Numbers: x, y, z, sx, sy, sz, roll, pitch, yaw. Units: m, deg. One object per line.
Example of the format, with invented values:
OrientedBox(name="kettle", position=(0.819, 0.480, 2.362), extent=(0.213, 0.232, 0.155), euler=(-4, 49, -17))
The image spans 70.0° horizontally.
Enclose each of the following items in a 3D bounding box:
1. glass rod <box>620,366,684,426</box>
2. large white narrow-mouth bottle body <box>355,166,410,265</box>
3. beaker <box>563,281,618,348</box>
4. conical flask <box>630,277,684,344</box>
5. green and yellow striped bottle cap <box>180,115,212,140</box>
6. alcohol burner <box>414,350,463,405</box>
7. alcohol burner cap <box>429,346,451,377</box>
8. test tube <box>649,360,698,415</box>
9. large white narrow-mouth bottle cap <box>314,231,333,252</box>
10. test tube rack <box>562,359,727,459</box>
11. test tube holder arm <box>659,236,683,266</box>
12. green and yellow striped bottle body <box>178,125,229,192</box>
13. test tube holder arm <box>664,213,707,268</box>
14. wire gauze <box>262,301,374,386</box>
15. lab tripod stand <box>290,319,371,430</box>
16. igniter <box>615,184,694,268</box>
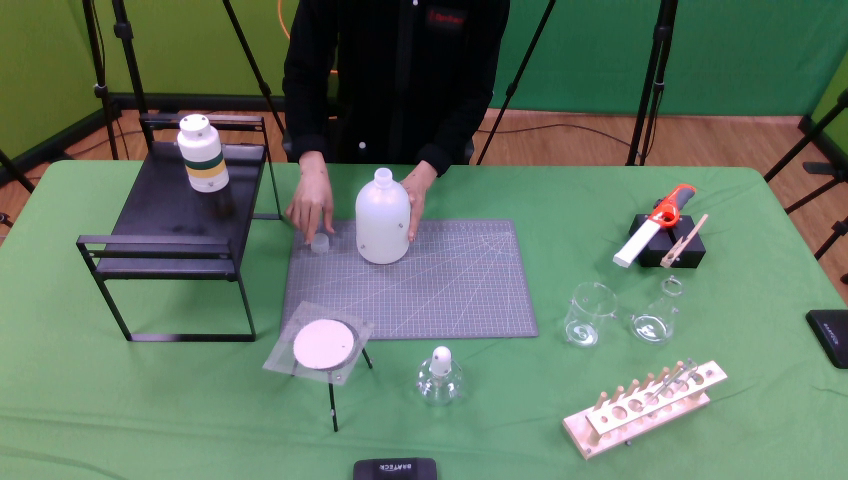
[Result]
OrientedBox(name="glass rod", position=(0.322, 0.227, 0.866), extent=(0.008, 0.200, 0.008), euler=(5, 51, -7))
OrientedBox(name="large white narrow-mouth bottle body", position=(-0.076, -0.051, 1.119), extent=(0.102, 0.195, 0.101), euler=(3, 44, -2))
OrientedBox(name="beaker", position=(0.283, 0.129, 1.041), extent=(0.074, 0.101, 0.083), euler=(11, 46, 7))
OrientedBox(name="conical flask", position=(0.409, 0.117, 1.045), extent=(0.075, 0.122, 0.075), euler=(2, 46, -2))
OrientedBox(name="green and yellow striped bottle cap", position=(-0.358, -0.177, 0.951), extent=(0.045, 0.020, 0.045), euler=(2, 45, -2))
OrientedBox(name="alcohol burner", position=(0.023, 0.205, 0.939), extent=(0.078, 0.120, 0.077), euler=(1, 48, -1))
OrientedBox(name="alcohol burner cap", position=(0.026, 0.180, 0.912), extent=(0.034, 0.048, 0.033), euler=(1, 47, -1))
OrientedBox(name="test tube", position=(0.365, 0.222, 0.898), extent=(0.017, 0.151, 0.017), euler=(4, 49, -5))
OrientedBox(name="large white narrow-mouth bottle cap", position=(-0.195, 0.003, 1.179), extent=(0.038, 0.024, 0.037), euler=(2, 45, -2))
OrientedBox(name="test tube rack", position=(0.341, 0.247, 0.940), extent=(0.243, 0.085, 0.066), euler=(-16, 49, -18))
OrientedBox(name="test tube holder arm", position=(0.472, 0.020, 1.149), extent=(0.010, 0.015, 0.088), euler=(35, 54, 27))
OrientedBox(name="green and yellow striped bottle body", position=(-0.361, -0.142, 0.989), extent=(0.063, 0.120, 0.063), euler=(2, 46, -2))
OrientedBox(name="test tube holder arm", position=(0.507, -0.001, 1.171), extent=(0.013, 0.015, 0.178), euler=(34, 54, 26))
OrientedBox(name="wire gauze", position=(-0.150, 0.148, 0.873), extent=(0.121, 0.011, 0.124), euler=(14, 46, 12))
OrientedBox(name="lab tripod stand", position=(-0.146, 0.194, 0.923), extent=(0.148, 0.132, 0.147), euler=(1, 47, -1))
OrientedBox(name="igniter", position=(0.459, -0.035, 1.197), extent=(0.057, 0.025, 0.276), euler=(32, 55, 27))
